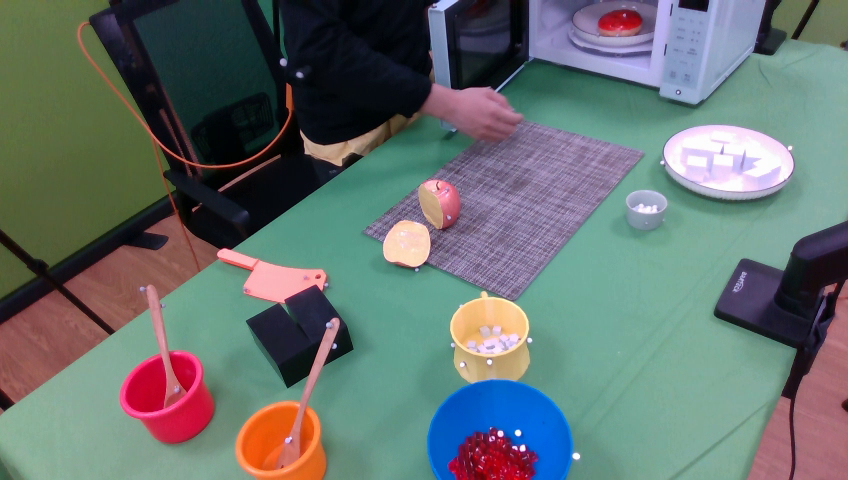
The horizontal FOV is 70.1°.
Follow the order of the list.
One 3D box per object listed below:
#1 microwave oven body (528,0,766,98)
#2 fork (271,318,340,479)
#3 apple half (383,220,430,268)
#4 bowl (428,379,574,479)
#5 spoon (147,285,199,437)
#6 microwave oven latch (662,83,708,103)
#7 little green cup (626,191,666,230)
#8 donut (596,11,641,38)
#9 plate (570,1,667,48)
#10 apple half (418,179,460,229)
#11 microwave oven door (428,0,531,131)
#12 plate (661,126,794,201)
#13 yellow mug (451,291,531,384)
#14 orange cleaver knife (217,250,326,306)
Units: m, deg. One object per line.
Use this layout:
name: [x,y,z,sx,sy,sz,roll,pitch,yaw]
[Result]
microwave oven body: [0.472,-0.513,1.317,0.438,0.261,0.327,25,51,34]
fork: [-0.132,0.186,0.676,0.028,0.019,0.207,17,90,28]
apple half: [-0.022,0.009,0.948,0.081,0.033,0.081,-4,73,13]
bowl: [0.082,0.233,0.644,0.151,0.077,0.150,-4,39,4]
spoon: [-0.319,0.148,0.754,0.042,0.021,0.193,-14,85,-11]
microwave oven latch: [0.517,-0.296,1.204,0.078,0.029,0.030,27,52,35]
little green cup: [0.352,-0.046,0.963,0.061,0.039,0.061,-4,40,4]
donut: [0.433,-0.479,1.347,0.099,0.048,0.098,-6,39,5]
plate: [0.437,-0.484,1.368,0.209,0.038,0.208,-5,41,4]
apple half: [0.032,-0.062,0.998,0.053,0.075,0.080,-23,39,-23]
microwave oven door: [0.127,-0.417,1.249,0.039,0.245,0.356,18,47,28]
plate: [0.513,-0.128,1.035,0.207,0.039,0.206,-4,40,4]
yellow mug: [0.086,0.120,0.786,0.100,0.064,0.130,-7,39,1]
orange cleaver knife: [-0.248,0.059,0.945,0.210,0.012,0.077,12,49,20]
